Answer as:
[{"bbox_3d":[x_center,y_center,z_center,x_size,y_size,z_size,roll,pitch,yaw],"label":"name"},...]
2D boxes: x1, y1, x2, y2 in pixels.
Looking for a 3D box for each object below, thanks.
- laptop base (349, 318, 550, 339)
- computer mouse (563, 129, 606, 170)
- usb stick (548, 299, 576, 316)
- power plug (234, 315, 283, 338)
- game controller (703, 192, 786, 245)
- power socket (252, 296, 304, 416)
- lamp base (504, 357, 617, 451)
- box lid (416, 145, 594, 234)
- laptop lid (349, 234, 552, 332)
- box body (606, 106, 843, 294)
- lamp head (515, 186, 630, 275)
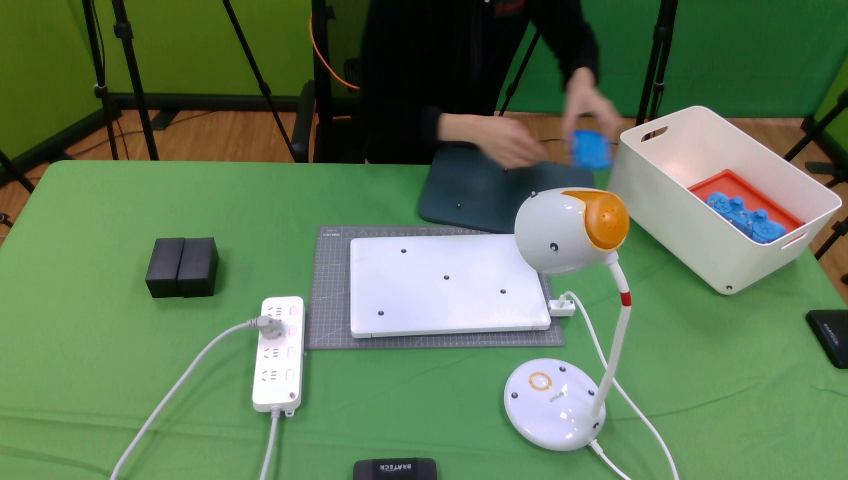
[{"bbox_3d":[0.039,0.081,1.125,0.355,0.023,0.234,-2,43,-6],"label":"laptop base"},{"bbox_3d":[0.298,-0.170,1.121,0.063,0.041,0.116,7,39,-4],"label":"computer mouse"},{"bbox_3d":[0.239,0.121,1.084,0.059,0.027,0.021,-1,51,-1],"label":"usb stick"},{"bbox_3d":[-0.269,0.143,1.000,0.072,0.053,0.035,4,47,3],"label":"power plug"},{"bbox_3d":[0.612,-0.044,1.167,0.154,0.052,0.097,36,57,27],"label":"game controller"},{"bbox_3d":[-0.238,0.181,0.997,0.072,0.033,0.225,-3,47,-5],"label":"power socket"},{"bbox_3d":[0.220,0.211,0.903,0.160,0.181,0.178,-33,59,-30],"label":"lamp base"},{"bbox_3d":[0.186,-0.103,1.320,0.371,0.015,0.262,10,46,6],"label":"box lid"},{"bbox_3d":[0.040,0.071,1.118,0.357,0.013,0.240,0,44,-5],"label":"laptop lid"},{"bbox_3d":[0.582,-0.088,1.230,0.254,0.161,0.361,-22,52,-23],"label":"box body"},{"bbox_3d":[0.188,-0.013,0.728,0.112,0.112,0.122,-25,9,-25],"label":"lamp head"}]
